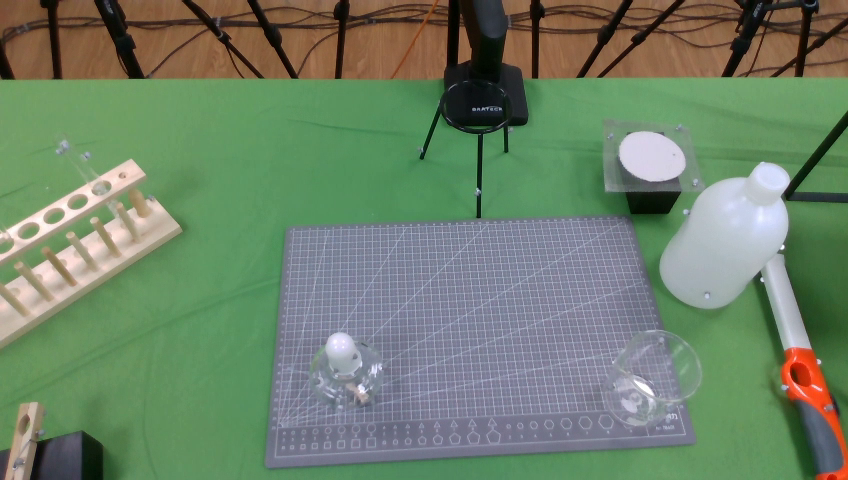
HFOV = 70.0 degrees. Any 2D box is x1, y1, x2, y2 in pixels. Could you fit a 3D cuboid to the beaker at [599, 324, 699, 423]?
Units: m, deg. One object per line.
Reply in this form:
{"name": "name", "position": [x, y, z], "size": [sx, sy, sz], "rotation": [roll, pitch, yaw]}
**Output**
{"name": "beaker", "position": [0.224, 0.141, 0.625], "size": [0.084, 0.101, 0.073], "rotation": [3, 56, 2]}

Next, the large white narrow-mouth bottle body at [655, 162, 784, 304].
{"name": "large white narrow-mouth bottle body", "position": [0.335, -0.013, 0.675], "size": [0.102, 0.196, 0.101], "rotation": [1, 56, 0]}

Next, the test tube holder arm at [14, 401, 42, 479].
{"name": "test tube holder arm", "position": [-0.366, 0.235, 0.544], "size": [0.013, 0.015, 0.176], "rotation": [-10, 62, 1]}

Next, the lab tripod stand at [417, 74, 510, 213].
{"name": "lab tripod stand", "position": [0.060, -0.130, 0.779], "size": [0.148, 0.132, 0.147], "rotation": [2, 58, -2]}

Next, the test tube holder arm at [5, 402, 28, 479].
{"name": "test tube holder arm", "position": [-0.378, 0.197, 0.565], "size": [0.010, 0.015, 0.087], "rotation": [-9, 62, 1]}

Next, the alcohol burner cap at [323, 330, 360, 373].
{"name": "alcohol burner cap", "position": [-0.082, 0.106, 0.587], "size": [0.034, 0.048, 0.033], "rotation": [-2, 57, 4]}

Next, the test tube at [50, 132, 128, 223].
{"name": "test tube", "position": [-0.379, -0.067, 0.695], "size": [0.017, 0.151, 0.017], "rotation": [-2, 56, 3]}

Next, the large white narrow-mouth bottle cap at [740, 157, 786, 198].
{"name": "large white narrow-mouth bottle cap", "position": [0.336, -0.062, 0.603], "size": [0.038, 0.024, 0.037], "rotation": [1, 57, -1]}

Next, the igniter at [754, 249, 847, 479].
{"name": "igniter", "position": [0.420, 0.128, 0.685], "size": [0.057, 0.025, 0.274], "rotation": [8, 56, -8]}

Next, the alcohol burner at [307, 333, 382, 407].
{"name": "alcohol burner", "position": [-0.082, 0.125, 0.618], "size": [0.078, 0.120, 0.077], "rotation": [2, 56, -2]}

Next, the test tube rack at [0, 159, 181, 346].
{"name": "test tube rack", "position": [-0.418, 0.014, 0.701], "size": [0.242, 0.086, 0.066], "rotation": [-38, 66, -23]}

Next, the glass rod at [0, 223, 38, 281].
{"name": "glass rod", "position": [-0.450, -0.015, 0.640], "size": [0.008, 0.201, 0.008], "rotation": [3, 48, -3]}

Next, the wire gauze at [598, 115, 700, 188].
{"name": "wire gauze", "position": [0.290, -0.115, 0.792], "size": [0.121, 0.011, 0.124], "rotation": [4, 57, 1]}
